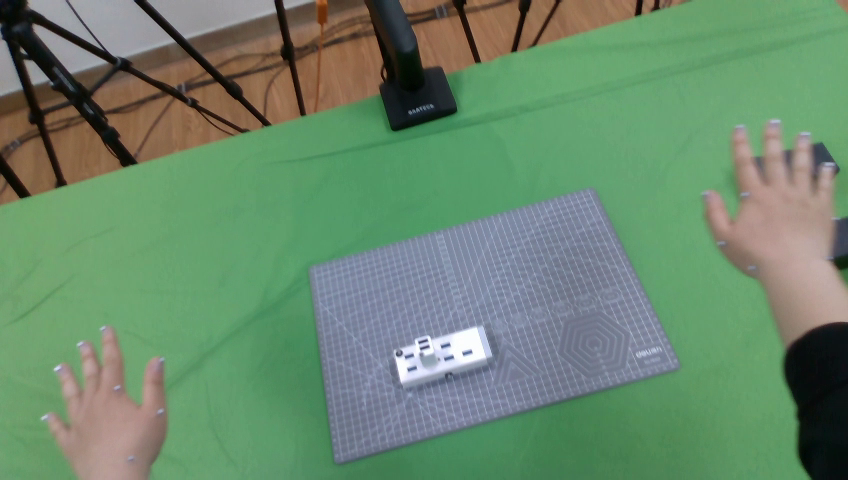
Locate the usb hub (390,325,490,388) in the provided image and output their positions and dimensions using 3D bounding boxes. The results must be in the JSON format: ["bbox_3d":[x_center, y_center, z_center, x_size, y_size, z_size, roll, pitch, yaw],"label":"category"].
[{"bbox_3d":[0.021,0.153,0.800,0.125,0.025,0.049,-16,57,0],"label":"usb hub"}]

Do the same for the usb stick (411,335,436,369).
[{"bbox_3d":[0.000,0.146,0.774,0.021,0.060,0.027,-19,55,-2],"label":"usb stick"}]
